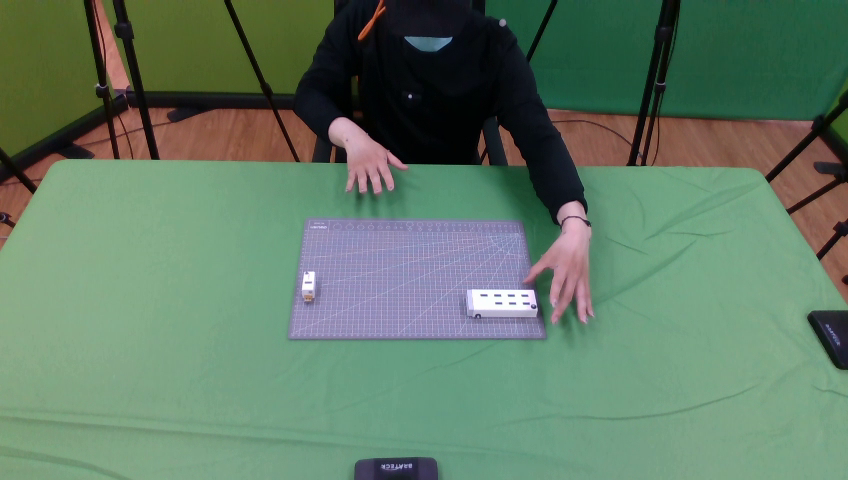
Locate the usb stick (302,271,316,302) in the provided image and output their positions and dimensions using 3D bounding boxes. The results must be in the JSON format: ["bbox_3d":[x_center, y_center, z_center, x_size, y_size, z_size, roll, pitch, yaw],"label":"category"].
[{"bbox_3d":[-0.207,0.085,1.092,0.021,0.027,0.059,1,49,-5],"label":"usb stick"}]

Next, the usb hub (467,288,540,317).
[{"bbox_3d":[0.142,0.113,1.089,0.125,0.025,0.049,0,46,-2],"label":"usb hub"}]
